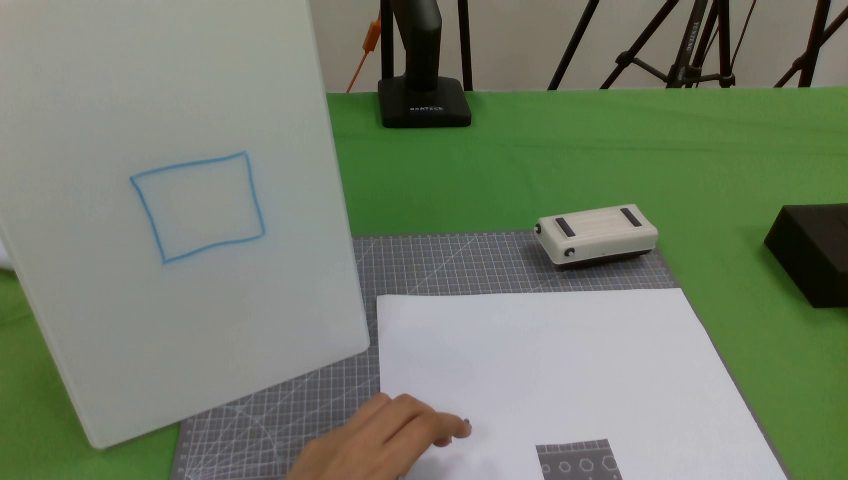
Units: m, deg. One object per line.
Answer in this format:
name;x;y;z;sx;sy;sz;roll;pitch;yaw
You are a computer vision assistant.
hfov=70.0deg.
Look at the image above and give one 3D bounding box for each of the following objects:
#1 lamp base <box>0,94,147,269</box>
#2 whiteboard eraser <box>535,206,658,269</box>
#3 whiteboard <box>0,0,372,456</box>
lamp base;-0.373;-0.090;0.567;0.178;0.182;0.160;25;45;26
whiteboard eraser;0.175;-0.002;0.616;0.113;0.042;0.055;-8;44;-14
whiteboard;-0.185;-0.035;0.469;0.218;0.307;0.142;-17;26;-21
